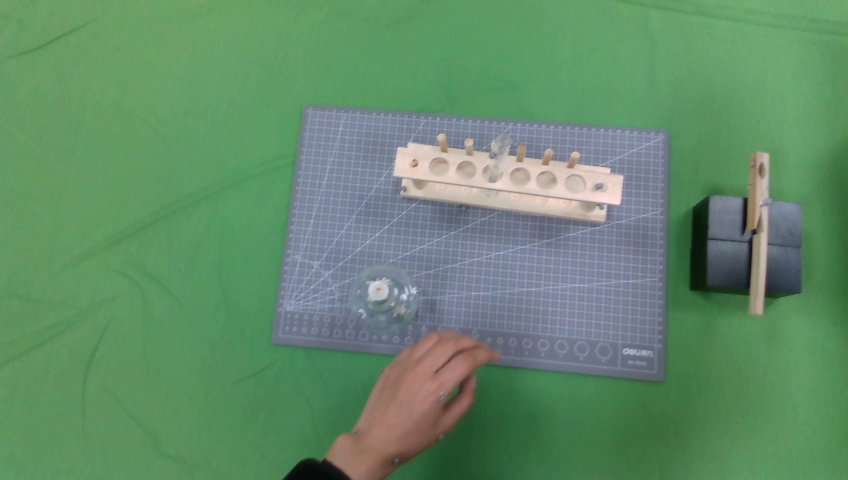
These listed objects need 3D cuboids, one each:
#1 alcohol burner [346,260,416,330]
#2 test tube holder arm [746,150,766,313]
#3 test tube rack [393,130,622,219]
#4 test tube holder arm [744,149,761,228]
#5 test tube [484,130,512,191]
[{"bbox_3d":[-0.047,0.057,0.654,0.078,0.119,0.077,0,78,1],"label":"alcohol burner"},{"bbox_3d":[0.358,-0.011,0.652,0.013,0.015,0.177,7,80,-6],"label":"test tube holder arm"},{"bbox_3d":[0.093,-0.080,0.688,0.242,0.085,0.066,8,80,4],"label":"test tube rack"},{"bbox_3d":[0.357,-0.055,0.659,0.010,0.015,0.087,7,80,-6],"label":"test tube holder arm"},{"bbox_3d":[0.076,-0.080,0.637,0.017,0.151,0.017,0,77,1],"label":"test tube"}]
